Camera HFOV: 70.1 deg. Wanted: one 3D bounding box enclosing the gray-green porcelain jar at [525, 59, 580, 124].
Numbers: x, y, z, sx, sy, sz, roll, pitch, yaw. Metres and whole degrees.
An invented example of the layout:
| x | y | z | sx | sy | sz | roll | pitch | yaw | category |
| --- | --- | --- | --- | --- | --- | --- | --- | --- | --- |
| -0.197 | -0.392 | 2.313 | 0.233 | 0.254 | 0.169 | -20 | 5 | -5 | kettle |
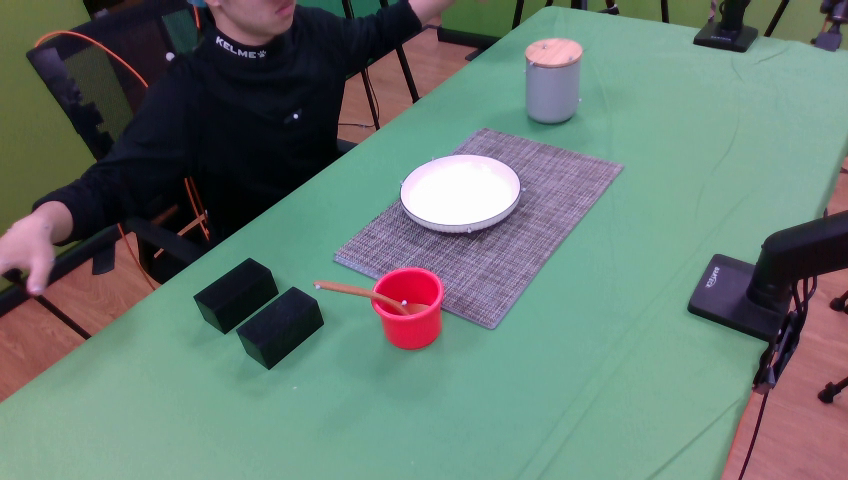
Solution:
| x | y | z | sx | sy | sz | roll | pitch | yaw | category |
| --- | --- | --- | --- | --- | --- | --- | --- | --- | --- |
| 0.256 | -0.305 | 1.209 | 0.106 | 0.127 | 0.105 | -4 | 41 | 4 | gray-green porcelain jar |

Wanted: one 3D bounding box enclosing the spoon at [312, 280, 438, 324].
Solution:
| x | y | z | sx | sy | sz | roll | pitch | yaw | category |
| --- | --- | --- | --- | --- | --- | --- | --- | --- | --- |
| -0.060 | 0.078 | 0.793 | 0.195 | 0.021 | 0.041 | 24 | 25 | -35 | spoon |

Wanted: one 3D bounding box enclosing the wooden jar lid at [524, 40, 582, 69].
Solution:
| x | y | z | sx | sy | sz | roll | pitch | yaw | category |
| --- | --- | --- | --- | --- | --- | --- | --- | --- | --- |
| 0.249 | -0.354 | 1.167 | 0.108 | 0.021 | 0.108 | -4 | 44 | 5 | wooden jar lid |

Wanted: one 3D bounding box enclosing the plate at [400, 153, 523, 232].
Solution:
| x | y | z | sx | sy | sz | roll | pitch | yaw | category |
| --- | --- | --- | --- | --- | --- | --- | --- | --- | --- |
| 0.065 | -0.078 | 1.034 | 0.207 | 0.039 | 0.206 | -4 | 41 | 4 | plate |
